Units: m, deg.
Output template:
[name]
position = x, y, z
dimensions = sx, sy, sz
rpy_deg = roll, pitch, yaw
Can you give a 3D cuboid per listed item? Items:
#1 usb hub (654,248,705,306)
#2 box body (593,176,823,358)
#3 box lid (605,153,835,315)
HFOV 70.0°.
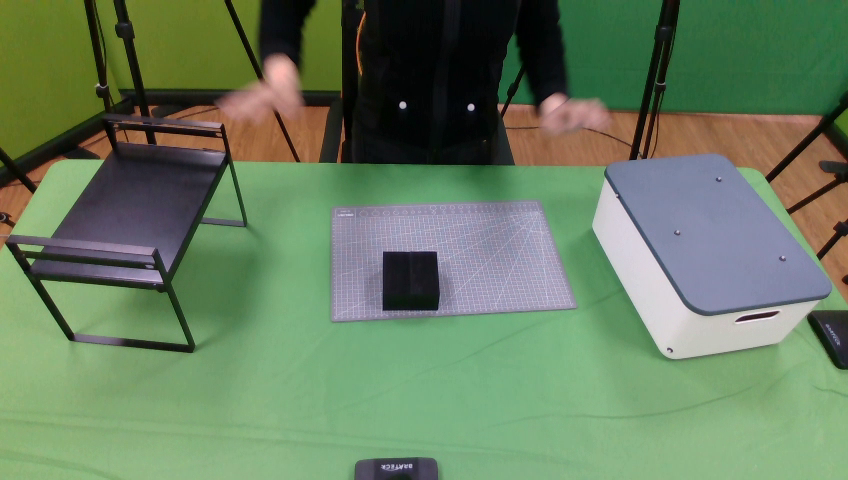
[usb hub]
position = 0.482, 0.069, 1.150
dimensions = 0.049, 0.025, 0.124
rpy_deg = -1, 48, -8
[box body]
position = 0.497, 0.022, 1.112
dimensions = 0.254, 0.161, 0.361
rpy_deg = -7, 47, -10
[box lid]
position = 0.499, -0.030, 1.060
dimensions = 0.264, 0.015, 0.369
rpy_deg = -6, 47, -10
